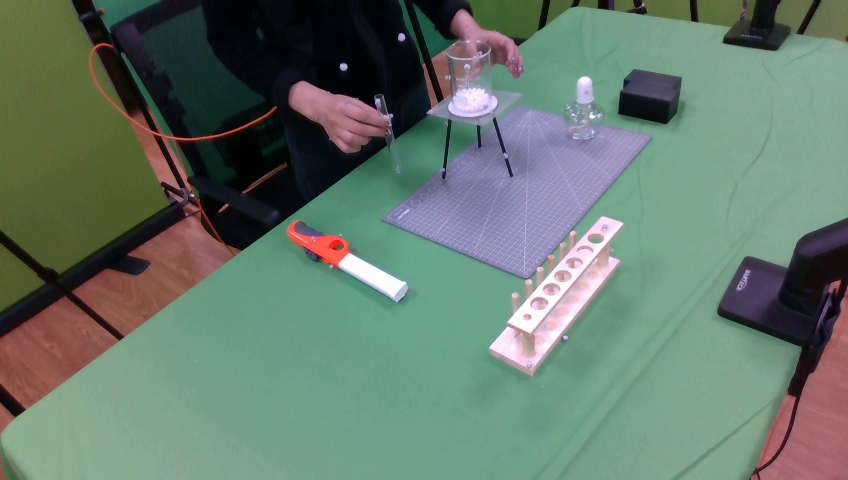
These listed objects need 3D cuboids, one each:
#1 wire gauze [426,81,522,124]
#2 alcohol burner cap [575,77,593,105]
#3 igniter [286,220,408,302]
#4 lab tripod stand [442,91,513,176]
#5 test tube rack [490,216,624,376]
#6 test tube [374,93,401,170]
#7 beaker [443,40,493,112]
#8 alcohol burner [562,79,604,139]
[{"bbox_3d":[0.088,-0.237,1.051,0.120,0.011,0.125,23,47,29],"label":"wire gauze"},{"bbox_3d":[0.297,-0.279,1.123,0.034,0.048,0.033,-8,41,8],"label":"alcohol burner cap"},{"bbox_3d":[-0.134,0.028,0.969,0.274,0.025,0.057,26,61,35],"label":"igniter"},{"bbox_3d":[0.096,-0.190,1.096,0.148,0.132,0.147,-4,39,4],"label":"lab tripod stand"},{"bbox_3d":[0.184,0.064,0.822,0.066,0.085,0.243,24,50,33],"label":"test tube rack"},{"bbox_3d":[-0.059,-0.177,1.006,0.017,0.151,0.017,-7,45,7],"label":"test tube"},{"bbox_3d":[0.075,-0.276,1.023,0.083,0.101,0.074,6,42,15],"label":"beaker"},{"bbox_3d":[0.303,-0.253,1.147,0.078,0.119,0.077,-4,41,4],"label":"alcohol burner"}]
